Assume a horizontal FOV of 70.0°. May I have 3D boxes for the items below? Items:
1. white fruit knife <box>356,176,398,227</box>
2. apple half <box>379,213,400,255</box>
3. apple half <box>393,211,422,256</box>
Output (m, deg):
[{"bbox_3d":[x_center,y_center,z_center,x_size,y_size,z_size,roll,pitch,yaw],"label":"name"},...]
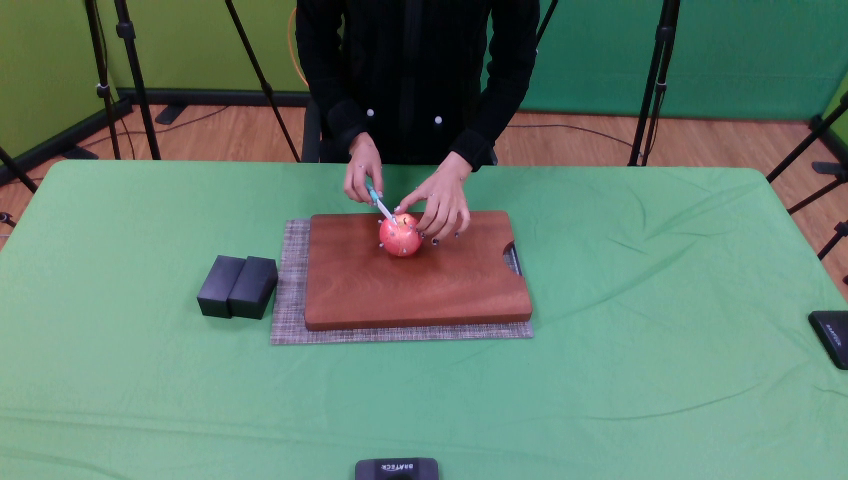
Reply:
[{"bbox_3d":[-0.087,-0.074,1.117,0.016,0.027,0.206,-22,36,-15],"label":"white fruit knife"},{"bbox_3d":[-0.068,-0.008,1.123,0.033,0.081,0.080,-6,47,-15],"label":"apple half"},{"bbox_3d":[-0.030,-0.012,1.132,0.053,0.075,0.080,-6,42,-15],"label":"apple half"}]
